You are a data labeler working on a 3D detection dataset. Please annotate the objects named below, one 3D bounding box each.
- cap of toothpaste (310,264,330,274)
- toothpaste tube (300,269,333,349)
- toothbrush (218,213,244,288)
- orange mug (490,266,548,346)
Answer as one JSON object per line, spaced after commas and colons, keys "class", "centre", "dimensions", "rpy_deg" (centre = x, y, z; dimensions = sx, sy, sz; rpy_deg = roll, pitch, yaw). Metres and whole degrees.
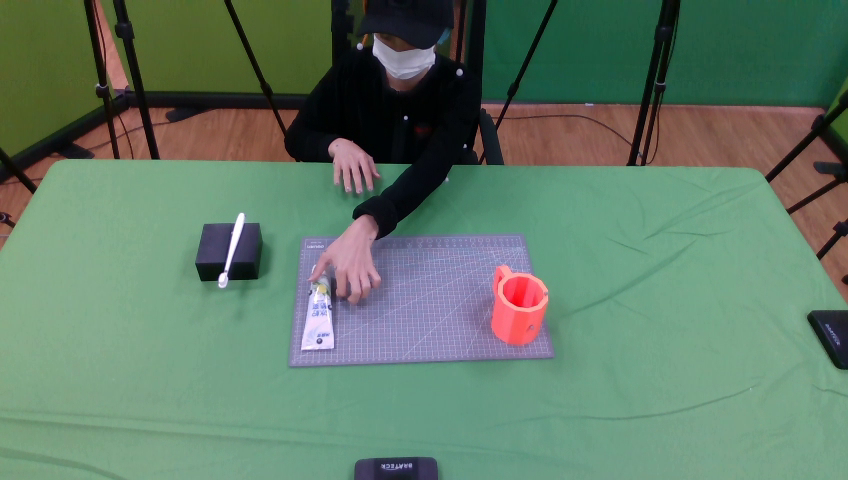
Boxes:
{"class": "cap of toothpaste", "centre": [-0.191, 0.057, 1.112], "dimensions": [0.037, 0.037, 0.011], "rpy_deg": [-2, 50, -7]}
{"class": "toothpaste tube", "centre": [-0.187, 0.118, 1.062], "dimensions": [0.055, 0.035, 0.164], "rpy_deg": [-5, 50, -2]}
{"class": "toothbrush", "centre": [-0.347, 0.013, 1.094], "dimensions": [0.014, 0.017, 0.180], "rpy_deg": [-2, 46, 0]}
{"class": "orange mug", "centre": [0.155, 0.107, 1.051], "dimensions": [0.083, 0.101, 0.125], "rpy_deg": [-15, 53, -18]}
